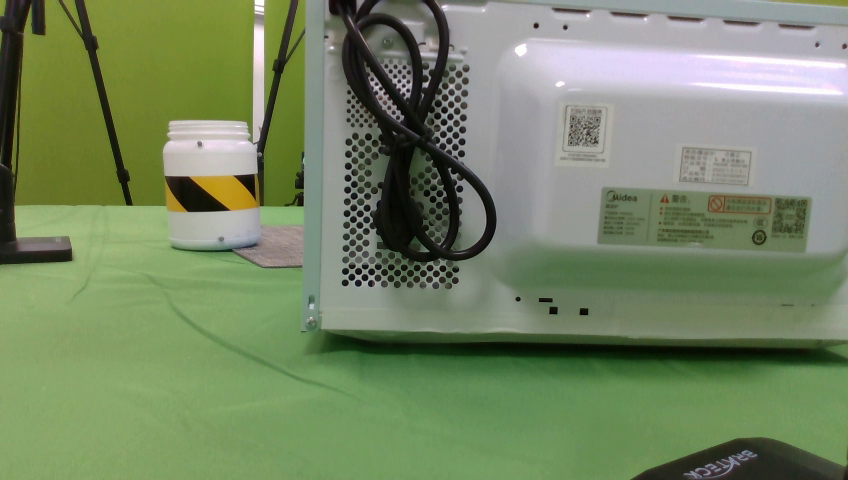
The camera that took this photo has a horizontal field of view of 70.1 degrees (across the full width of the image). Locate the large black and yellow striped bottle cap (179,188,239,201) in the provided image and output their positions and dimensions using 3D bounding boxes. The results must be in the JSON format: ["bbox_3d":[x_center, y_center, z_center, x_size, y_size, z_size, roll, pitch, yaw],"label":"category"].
[{"bbox_3d":[-0.434,-0.093,1.226,0.115,0.019,0.115,3,9,0],"label":"large black and yellow striped bottle cap"}]

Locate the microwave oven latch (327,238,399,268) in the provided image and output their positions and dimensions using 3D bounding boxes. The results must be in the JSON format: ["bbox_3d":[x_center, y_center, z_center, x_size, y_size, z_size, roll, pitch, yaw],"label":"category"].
[{"bbox_3d":[-0.069,0.015,0.694,0.079,0.029,0.030,3,7,-3],"label":"microwave oven latch"}]

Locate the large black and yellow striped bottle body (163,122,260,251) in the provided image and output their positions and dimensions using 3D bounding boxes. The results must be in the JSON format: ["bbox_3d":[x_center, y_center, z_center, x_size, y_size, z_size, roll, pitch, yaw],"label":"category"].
[{"bbox_3d":[-0.317,-0.083,0.907,0.131,0.184,0.130,0,9,0],"label":"large black and yellow striped bottle body"}]

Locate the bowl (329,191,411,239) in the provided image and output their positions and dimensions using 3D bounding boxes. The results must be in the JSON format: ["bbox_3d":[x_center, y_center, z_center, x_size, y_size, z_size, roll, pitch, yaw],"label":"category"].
[{"bbox_3d":[-0.099,-0.046,1.104,0.151,0.077,0.151,3,8,0],"label":"bowl"}]

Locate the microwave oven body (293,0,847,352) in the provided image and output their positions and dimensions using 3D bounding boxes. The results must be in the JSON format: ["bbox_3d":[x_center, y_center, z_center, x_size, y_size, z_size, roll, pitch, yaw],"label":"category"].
[{"bbox_3d":[0.122,-0.055,0.550,0.442,0.260,0.325,3,7,-5],"label":"microwave oven body"}]

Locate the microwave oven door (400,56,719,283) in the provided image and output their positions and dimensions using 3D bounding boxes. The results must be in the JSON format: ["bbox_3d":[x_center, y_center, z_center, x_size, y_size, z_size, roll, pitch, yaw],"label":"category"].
[{"bbox_3d":[0.155,-0.078,0.698,0.356,0.243,0.039,2,8,-5],"label":"microwave oven door"}]
